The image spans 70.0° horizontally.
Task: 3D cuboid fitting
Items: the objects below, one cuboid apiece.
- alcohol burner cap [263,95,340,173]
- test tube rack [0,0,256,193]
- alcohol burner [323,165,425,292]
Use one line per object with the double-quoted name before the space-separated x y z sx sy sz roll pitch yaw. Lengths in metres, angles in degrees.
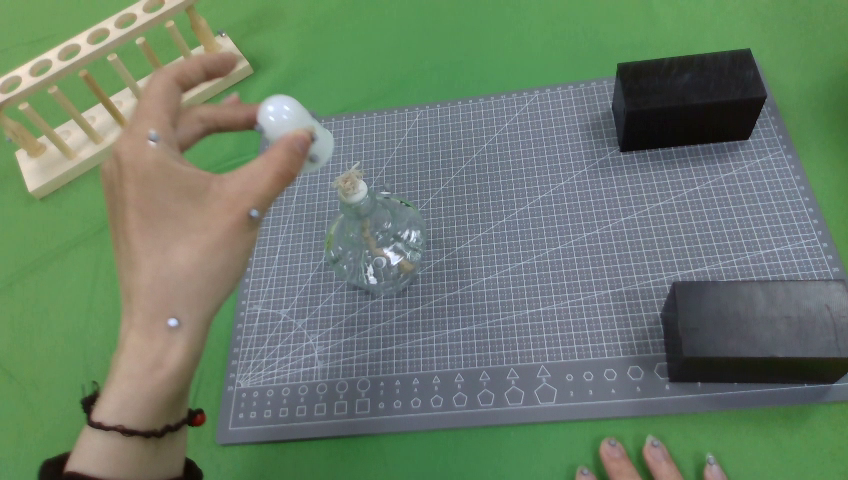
"alcohol burner cap" -0.074 -0.064 0.355 0.034 0.048 0.033 -9 62 18
"test tube rack" -0.297 -0.153 0.586 0.242 0.086 0.066 -33 60 -9
"alcohol burner" -0.040 -0.012 0.436 0.078 0.120 0.077 -5 57 9
